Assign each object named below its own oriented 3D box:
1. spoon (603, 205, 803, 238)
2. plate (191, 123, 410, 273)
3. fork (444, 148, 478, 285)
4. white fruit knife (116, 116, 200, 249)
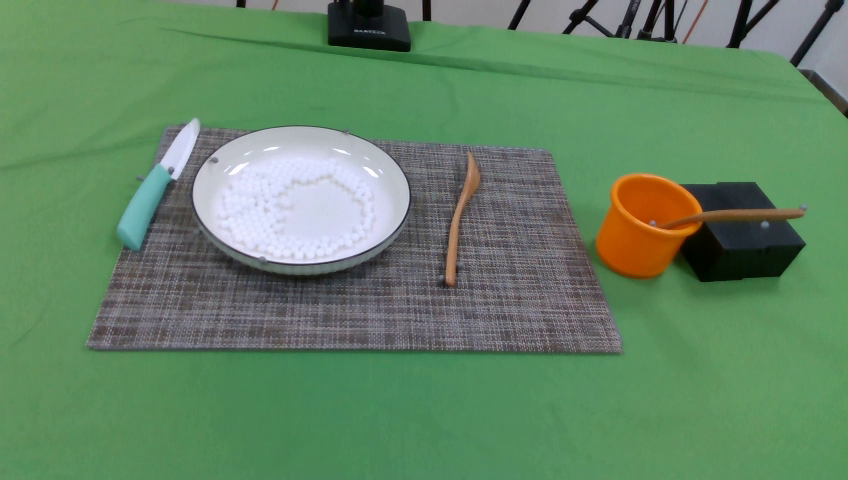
[{"bbox_3d":[0.256,-0.020,0.581,0.042,0.193,0.022,-26,98,-35],"label":"spoon"},{"bbox_3d":[-0.118,-0.042,0.601,0.209,0.038,0.207,6,45,-5],"label":"plate"},{"bbox_3d":[0.038,-0.031,0.634,0.018,0.028,0.205,-9,42,25],"label":"fork"},{"bbox_3d":[-0.264,-0.069,0.615,0.027,0.016,0.205,30,38,-22],"label":"white fruit knife"}]
